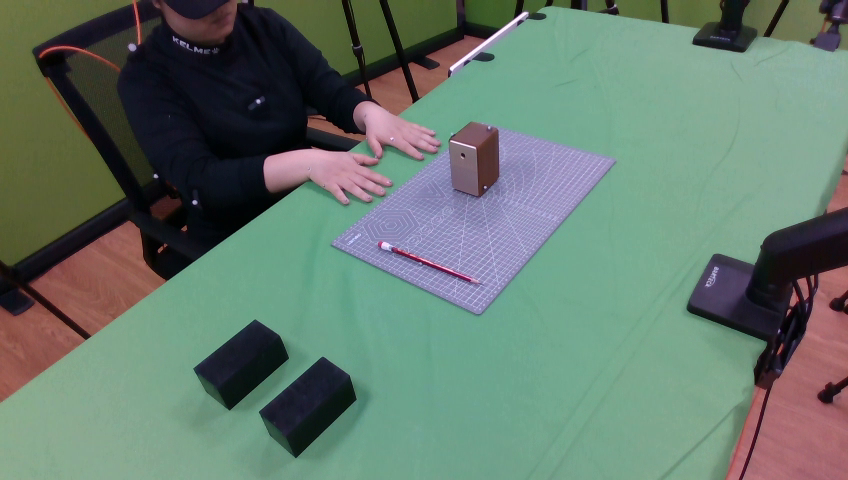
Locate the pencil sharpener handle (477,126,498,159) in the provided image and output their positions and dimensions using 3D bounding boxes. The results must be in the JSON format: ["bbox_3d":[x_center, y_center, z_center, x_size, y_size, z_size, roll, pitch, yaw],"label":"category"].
[{"bbox_3d":[0.118,-0.179,1.075,0.035,0.068,0.031,21,48,30],"label":"pencil sharpener handle"}]

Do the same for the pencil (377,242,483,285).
[{"bbox_3d":[0.006,0.036,0.931,0.192,0.012,0.012,20,47,27],"label":"pencil"}]

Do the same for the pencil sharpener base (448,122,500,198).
[{"bbox_3d":[0.090,-0.140,1.052,0.061,0.107,0.077,20,47,30],"label":"pencil sharpener base"}]
